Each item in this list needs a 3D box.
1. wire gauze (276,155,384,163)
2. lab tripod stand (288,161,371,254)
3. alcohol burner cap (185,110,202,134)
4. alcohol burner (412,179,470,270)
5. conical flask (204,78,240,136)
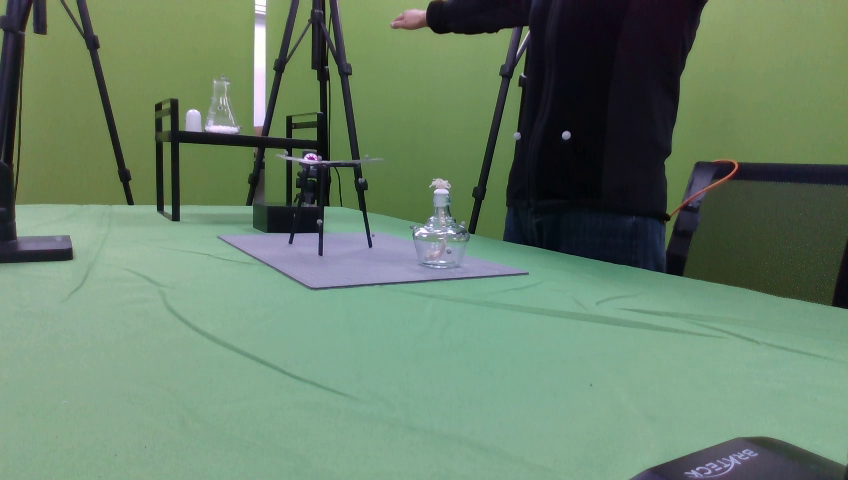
[{"bbox_3d":[-0.142,-0.118,0.900,0.122,0.011,0.124,-3,8,-37],"label":"wire gauze"},{"bbox_3d":[-0.148,-0.052,0.909,0.148,0.131,0.148,1,8,0],"label":"lab tripod stand"},{"bbox_3d":[-0.470,-0.241,1.234,0.034,0.048,0.034,3,7,0],"label":"alcohol burner cap"},{"bbox_3d":[0.022,-0.021,0.805,0.078,0.119,0.078,0,8,0],"label":"alcohol burner"},{"bbox_3d":[-0.443,-0.292,1.327,0.075,0.122,0.075,3,7,0],"label":"conical flask"}]
